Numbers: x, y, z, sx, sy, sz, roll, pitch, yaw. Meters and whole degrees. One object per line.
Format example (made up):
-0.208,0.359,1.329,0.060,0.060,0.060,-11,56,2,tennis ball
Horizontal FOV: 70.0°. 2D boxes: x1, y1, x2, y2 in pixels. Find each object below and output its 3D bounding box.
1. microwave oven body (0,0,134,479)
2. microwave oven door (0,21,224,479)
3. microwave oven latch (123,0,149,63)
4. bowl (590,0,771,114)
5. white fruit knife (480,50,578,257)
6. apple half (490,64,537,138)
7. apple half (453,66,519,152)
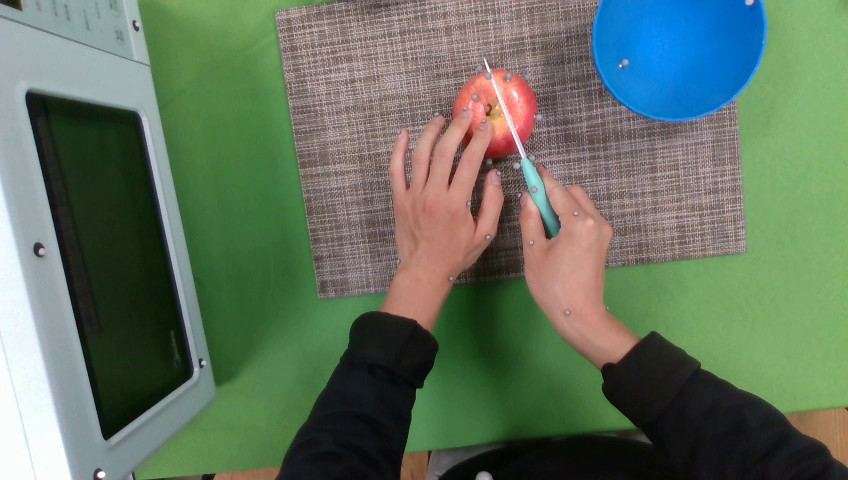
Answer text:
-0.423,-0.007,0.539,0.326,0.259,0.442,-9,98,4,microwave oven body
-0.272,0.012,0.527,0.039,0.243,0.356,-9,97,5,microwave oven door
-0.298,-0.215,0.600,0.030,0.029,0.079,-9,98,4,microwave oven latch
0.224,-0.190,0.563,0.151,0.076,0.151,0,98,4,bowl
0.094,-0.073,0.547,0.016,0.027,0.208,-22,102,20,white fruit knife
0.091,-0.137,0.581,0.033,0.081,0.081,-22,95,13,apple half
0.056,-0.120,0.587,0.053,0.074,0.081,-22,99,12,apple half
